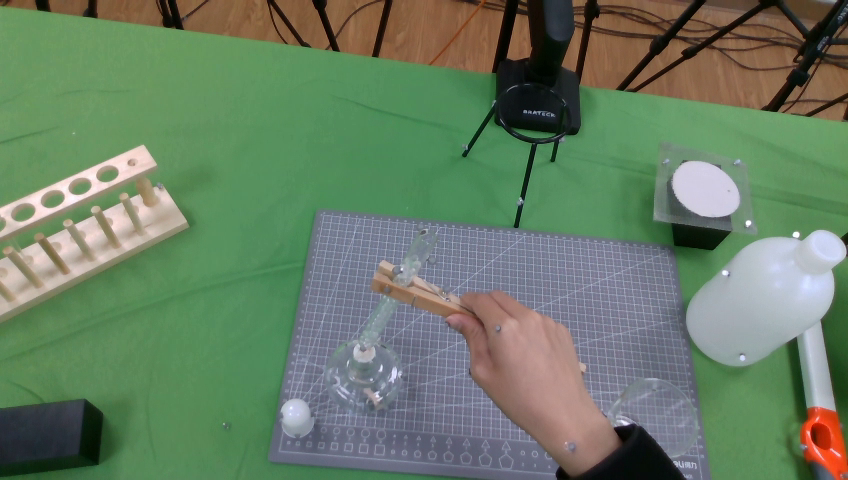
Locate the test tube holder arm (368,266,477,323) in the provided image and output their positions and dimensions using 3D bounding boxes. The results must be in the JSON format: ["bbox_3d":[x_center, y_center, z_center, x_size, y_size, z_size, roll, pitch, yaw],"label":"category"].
[{"bbox_3d":[-0.001,0.043,0.471,0.088,0.015,0.010,21,41,-3],"label":"test tube holder arm"}]

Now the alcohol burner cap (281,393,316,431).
[{"bbox_3d":[-0.125,0.169,0.599,0.034,0.048,0.033,2,62,-3],"label":"alcohol burner cap"}]

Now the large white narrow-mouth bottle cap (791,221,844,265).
[{"bbox_3d":[0.365,0.002,0.563,0.038,0.024,0.037,3,60,-4],"label":"large white narrow-mouth bottle cap"}]

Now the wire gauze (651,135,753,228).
[{"bbox_3d":[0.345,-0.073,0.755,0.121,0.011,0.124,12,59,1],"label":"wire gauze"}]

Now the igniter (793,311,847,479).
[{"bbox_3d":[0.431,0.187,0.660,0.057,0.025,0.274,17,59,-8],"label":"igniter"}]

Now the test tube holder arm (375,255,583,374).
[{"bbox_3d":[0.042,0.058,0.474,0.178,0.015,0.013,26,42,3],"label":"test tube holder arm"}]

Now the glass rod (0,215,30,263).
[{"bbox_3d":[-0.423,-0.037,0.586,0.008,0.201,0.008,5,50,-5],"label":"glass rod"}]

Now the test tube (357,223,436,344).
[{"bbox_3d":[-0.026,0.040,0.485,0.017,0.151,0.017,16,44,-16],"label":"test tube"}]

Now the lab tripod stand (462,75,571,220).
[{"bbox_3d":[0.119,-0.119,0.742,0.148,0.132,0.147,3,61,-6],"label":"lab tripod stand"}]

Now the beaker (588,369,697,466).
[{"bbox_3d":[0.206,0.179,0.595,0.084,0.101,0.073,3,59,-3],"label":"beaker"}]

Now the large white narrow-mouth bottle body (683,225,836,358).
[{"bbox_3d":[0.358,0.047,0.636,0.102,0.196,0.101,2,59,-4],"label":"large white narrow-mouth bottle body"}]

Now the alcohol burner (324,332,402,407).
[{"bbox_3d":[-0.059,0.121,0.592,0.078,0.120,0.077,4,59,-6],"label":"alcohol burner"}]

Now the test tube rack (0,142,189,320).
[{"bbox_3d":[-0.390,-0.005,0.648,0.242,0.086,0.066,-31,68,-22],"label":"test tube rack"}]
